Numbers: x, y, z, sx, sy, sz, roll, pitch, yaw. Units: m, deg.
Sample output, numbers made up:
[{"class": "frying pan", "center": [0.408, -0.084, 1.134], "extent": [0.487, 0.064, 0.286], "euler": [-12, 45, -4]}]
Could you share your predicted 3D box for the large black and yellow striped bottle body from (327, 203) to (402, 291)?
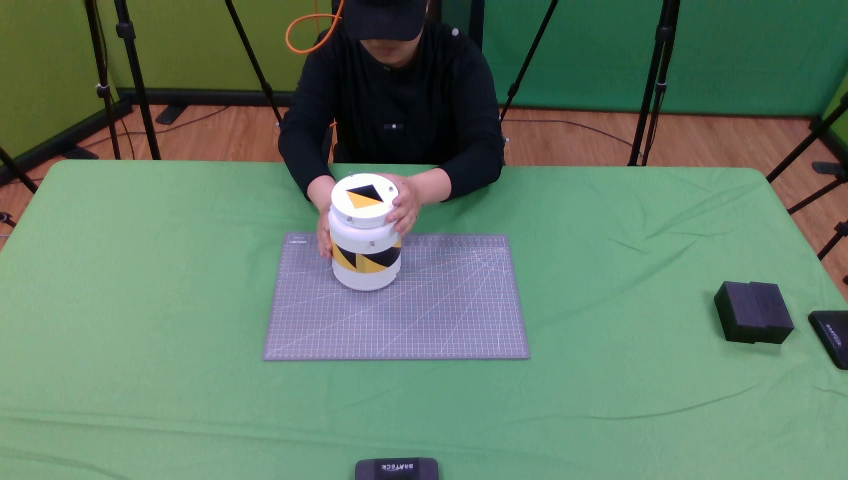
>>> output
[{"class": "large black and yellow striped bottle body", "center": [-0.106, -0.012, 1.086], "extent": [0.131, 0.185, 0.130], "euler": [2, 46, -2]}]

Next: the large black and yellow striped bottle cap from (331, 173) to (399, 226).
[{"class": "large black and yellow striped bottle cap", "center": [-0.100, -0.070, 1.025], "extent": [0.115, 0.019, 0.114], "euler": [2, 47, -2]}]
